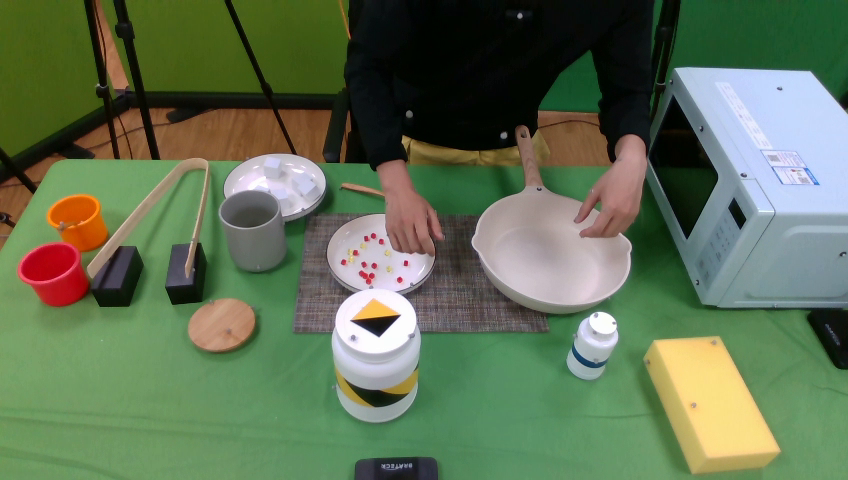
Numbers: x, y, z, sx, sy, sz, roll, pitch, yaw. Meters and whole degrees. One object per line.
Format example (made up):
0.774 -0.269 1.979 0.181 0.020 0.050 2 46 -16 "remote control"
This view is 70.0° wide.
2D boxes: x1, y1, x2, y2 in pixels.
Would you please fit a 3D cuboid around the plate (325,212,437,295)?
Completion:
-0.081 0.030 1.143 0.209 0.038 0.208 2 46 -2 "plate"

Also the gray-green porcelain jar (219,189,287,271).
-0.310 -0.014 1.113 0.106 0.127 0.105 2 46 -2 "gray-green porcelain jar"

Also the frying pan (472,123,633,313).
0.235 -0.060 1.207 0.307 0.103 0.484 2 54 -6 "frying pan"

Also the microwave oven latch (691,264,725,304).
0.521 0.081 1.116 0.030 0.029 0.078 0 46 -3 "microwave oven latch"

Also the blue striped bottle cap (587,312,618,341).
0.279 0.134 0.947 0.044 0.021 0.044 2 45 -2 "blue striped bottle cap"

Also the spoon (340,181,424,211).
-0.090 -0.100 1.282 0.193 0.022 0.041 18 65 13 "spoon"

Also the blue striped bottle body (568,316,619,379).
0.276 0.168 0.984 0.063 0.121 0.062 2 46 -2 "blue striped bottle body"

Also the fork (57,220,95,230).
-0.624 -0.027 1.087 0.028 0.207 0.018 -3 92 -17 "fork"

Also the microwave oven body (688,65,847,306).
0.669 -0.111 1.176 0.326 0.261 0.439 0 46 -3 "microwave oven body"

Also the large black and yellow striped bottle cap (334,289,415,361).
-0.069 0.117 0.850 0.115 0.019 0.114 2 45 -2 "large black and yellow striped bottle cap"

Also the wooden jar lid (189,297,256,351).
-0.342 0.145 1.033 0.108 0.021 0.107 2 45 -2 "wooden jar lid"

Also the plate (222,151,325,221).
-0.310 -0.106 1.263 0.208 0.039 0.206 2 47 -2 "plate"

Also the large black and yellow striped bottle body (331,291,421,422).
-0.071 0.175 0.911 0.131 0.185 0.130 2 47 -2 "large black and yellow striped bottle body"

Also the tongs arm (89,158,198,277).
-0.529 -0.058 1.163 0.028 0.028 0.385 1 36 7 "tongs arm"

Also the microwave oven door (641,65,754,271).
0.524 -0.148 1.193 0.039 0.245 0.353 0 47 -3 "microwave oven door"

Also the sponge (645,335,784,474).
0.449 0.253 0.956 0.118 0.061 0.205 -4 46 -7 "sponge"

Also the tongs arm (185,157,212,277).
-0.445 -0.058 1.168 0.051 0.026 0.382 -4 37 -6 "tongs arm"
